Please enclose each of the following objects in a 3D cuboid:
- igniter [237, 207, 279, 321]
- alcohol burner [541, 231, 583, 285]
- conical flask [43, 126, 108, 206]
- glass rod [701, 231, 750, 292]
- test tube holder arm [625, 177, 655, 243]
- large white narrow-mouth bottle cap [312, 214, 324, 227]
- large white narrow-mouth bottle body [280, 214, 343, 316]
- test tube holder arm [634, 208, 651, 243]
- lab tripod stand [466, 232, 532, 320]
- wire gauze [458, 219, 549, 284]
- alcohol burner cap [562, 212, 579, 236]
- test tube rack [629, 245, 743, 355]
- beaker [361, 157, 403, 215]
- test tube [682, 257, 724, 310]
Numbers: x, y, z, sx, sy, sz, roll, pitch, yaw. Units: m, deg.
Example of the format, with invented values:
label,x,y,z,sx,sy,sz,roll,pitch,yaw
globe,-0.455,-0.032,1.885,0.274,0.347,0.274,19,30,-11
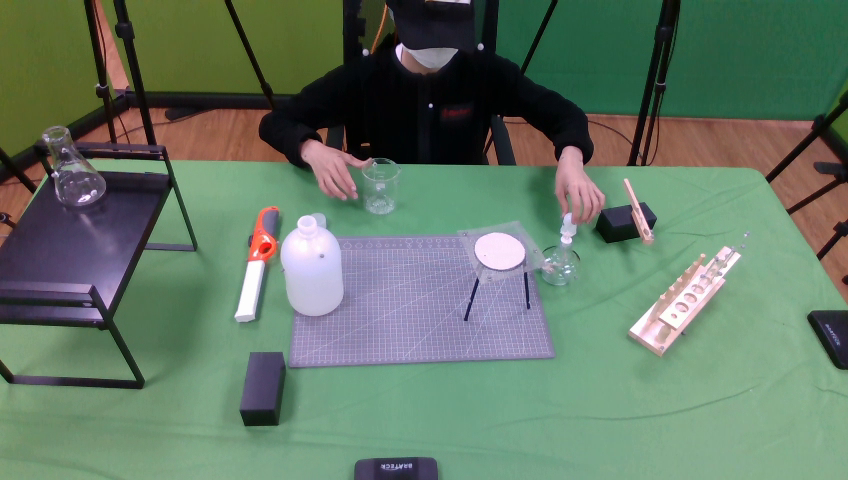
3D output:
label,x,y,z,sx,sy,sz,roll,pitch,yaw
igniter,-0.309,0.036,1.137,0.057,0.025,0.274,-6,46,5
alcohol burner,0.258,0.028,1.123,0.078,0.120,0.077,1,47,-1
conical flask,-0.555,-0.119,0.953,0.075,0.122,0.075,2,46,-2
glass rod,0.519,0.045,1.050,0.008,0.201,0.008,0,55,0
test tube holder arm,0.433,-0.063,1.220,0.013,0.015,0.177,1,47,-3
large white narrow-mouth bottle cap,-0.219,-0.033,1.214,0.038,0.024,0.037,2,46,-2
large white narrow-mouth bottle body,-0.190,0.035,1.025,0.102,0.195,0.101,2,46,-2
test tube holder arm,0.428,-0.030,1.189,0.010,0.015,0.087,1,47,-2
lab tripod stand,0.125,0.059,1.065,0.148,0.132,0.147,1,45,0
wire gauze,0.131,0.014,1.016,0.121,0.011,0.124,-12,47,-14
alcohol burner cap,0.298,-0.035,1.224,0.034,0.048,0.033,-1,42,1
test tube rack,0.474,0.095,1.091,0.242,0.085,0.066,-34,56,-31
beaker,-0.087,-0.108,1.241,0.084,0.101,0.073,-8,48,-13
test tube,0.475,0.080,1.037,0.017,0.151,0.017,2,51,-2
